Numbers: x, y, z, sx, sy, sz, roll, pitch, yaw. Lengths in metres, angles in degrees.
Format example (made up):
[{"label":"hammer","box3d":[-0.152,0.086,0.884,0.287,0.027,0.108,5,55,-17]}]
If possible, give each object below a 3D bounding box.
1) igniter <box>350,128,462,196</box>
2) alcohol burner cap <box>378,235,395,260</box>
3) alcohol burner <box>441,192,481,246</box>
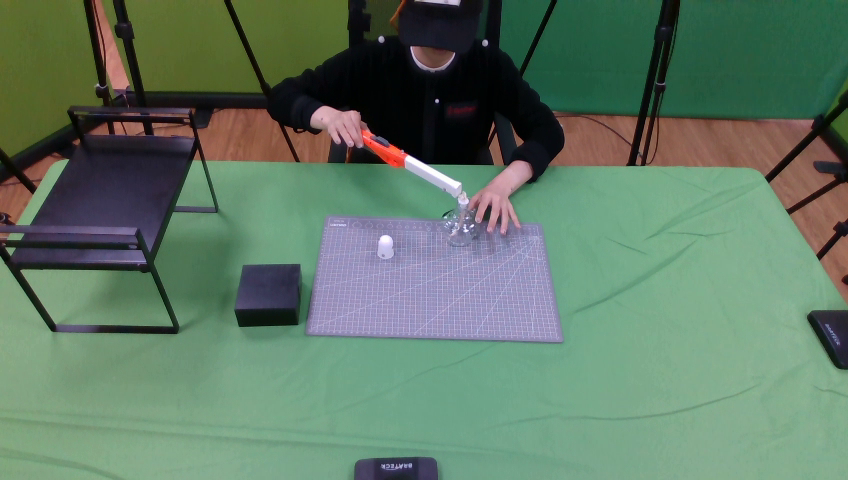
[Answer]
[{"label":"igniter","box3d":[-0.042,-0.158,1.194,0.275,0.057,0.025,30,59,23]},{"label":"alcohol burner cap","box3d":[-0.073,0.012,1.160,0.034,0.048,0.033,1,46,0]},{"label":"alcohol burner","box3d":[0.074,-0.046,1.176,0.078,0.119,0.077,3,44,-2]}]
